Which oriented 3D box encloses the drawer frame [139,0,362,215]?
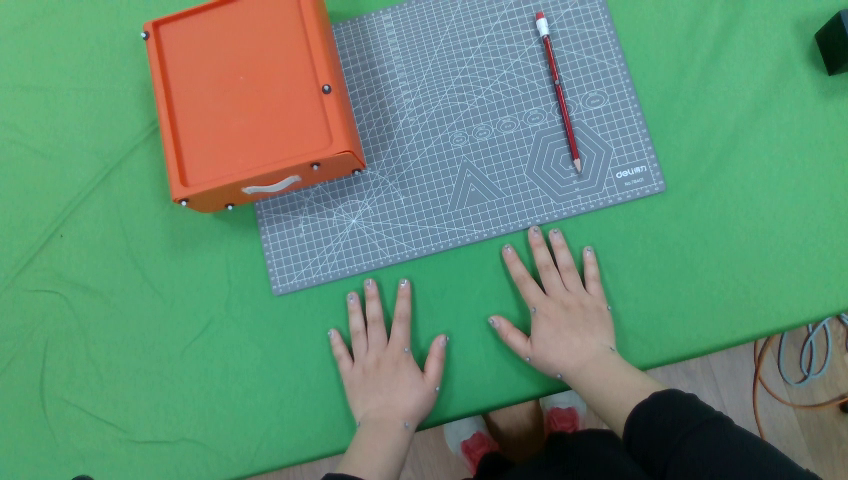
[{"bbox_3d":[-0.194,-0.157,0.679,0.201,0.083,0.212,-16,79,6],"label":"drawer frame"}]

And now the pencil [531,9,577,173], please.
[{"bbox_3d":[0.147,-0.167,0.677,0.012,0.012,0.193,-13,83,5],"label":"pencil"}]

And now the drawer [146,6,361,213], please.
[{"bbox_3d":[-0.191,-0.155,0.680,0.194,0.073,0.211,-15,79,6],"label":"drawer"}]
